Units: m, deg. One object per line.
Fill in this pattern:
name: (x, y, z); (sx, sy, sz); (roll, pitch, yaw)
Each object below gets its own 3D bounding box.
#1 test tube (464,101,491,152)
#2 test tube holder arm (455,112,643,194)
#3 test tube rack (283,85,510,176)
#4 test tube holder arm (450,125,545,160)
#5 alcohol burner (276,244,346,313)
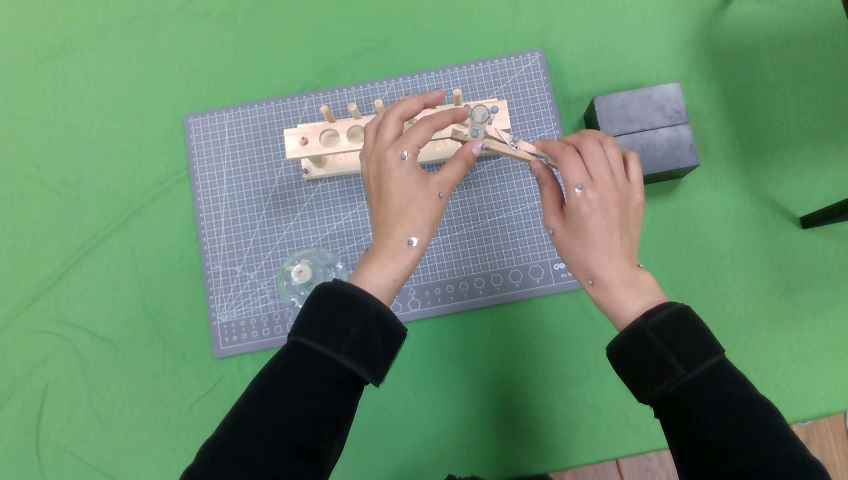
test tube: (0.046, -0.098, 0.543); (0.017, 0.150, 0.017); (0, 88, 2)
test tube holder arm: (0.111, -0.078, 0.542); (0.178, 0.015, 0.013); (21, 98, 2)
test tube rack: (-0.030, -0.131, 0.690); (0.242, 0.085, 0.066); (-8, 80, 0)
test tube holder arm: (0.067, -0.087, 0.544); (0.088, 0.015, 0.010); (16, 98, 3)
alcohol burner: (-0.124, 0.039, 0.651); (0.078, 0.119, 0.077); (0, 79, 0)
